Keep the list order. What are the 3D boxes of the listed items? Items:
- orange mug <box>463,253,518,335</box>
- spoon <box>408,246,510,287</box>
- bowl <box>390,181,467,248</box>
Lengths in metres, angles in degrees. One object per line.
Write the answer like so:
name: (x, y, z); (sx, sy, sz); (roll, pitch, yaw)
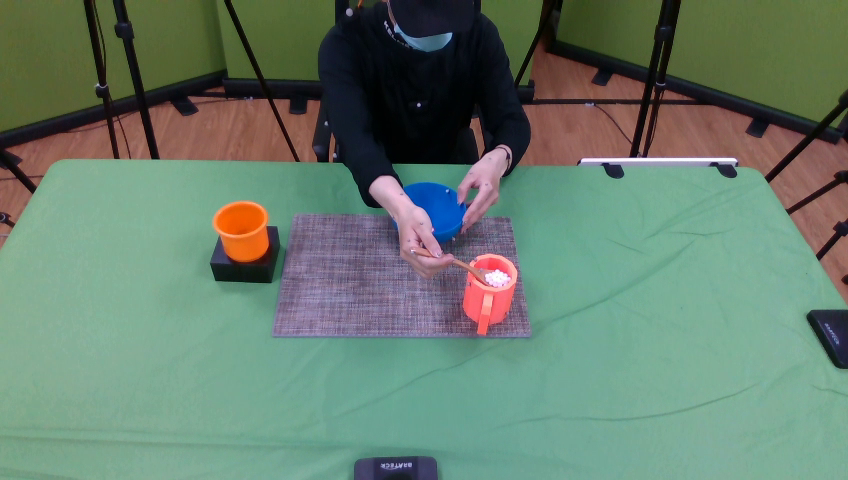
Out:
orange mug: (0.113, 0.098, 1.050); (0.083, 0.101, 0.125); (10, 42, 6)
spoon: (0.060, 0.041, 1.006); (0.194, 0.022, 0.041); (23, 39, -24)
bowl: (0.007, -0.038, 1.188); (0.151, 0.077, 0.150); (2, 45, -2)
